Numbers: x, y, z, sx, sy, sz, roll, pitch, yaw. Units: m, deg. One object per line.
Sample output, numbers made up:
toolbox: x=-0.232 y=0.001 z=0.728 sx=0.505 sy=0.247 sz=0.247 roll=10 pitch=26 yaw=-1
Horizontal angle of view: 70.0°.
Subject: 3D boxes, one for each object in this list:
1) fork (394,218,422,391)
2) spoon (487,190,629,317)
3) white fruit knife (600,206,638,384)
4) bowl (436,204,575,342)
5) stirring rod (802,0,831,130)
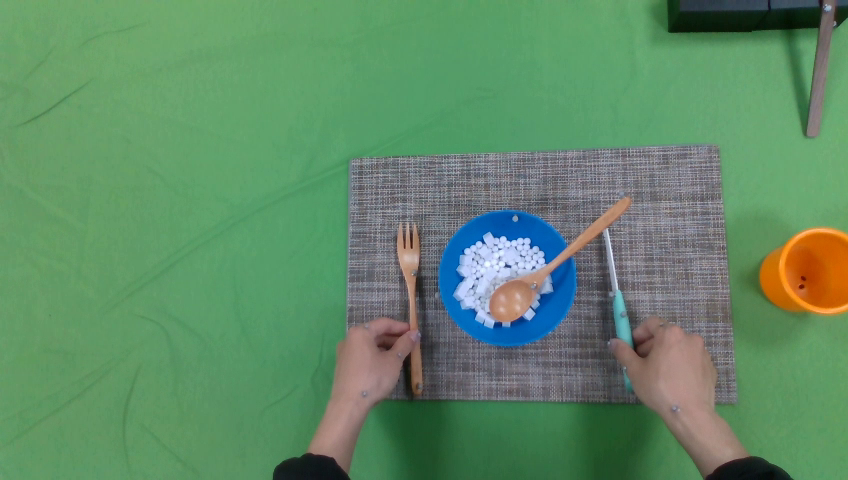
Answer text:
fork: x=-0.016 y=0.075 z=0.724 sx=0.028 sy=0.018 sz=0.206 roll=-2 pitch=77 yaw=-11
spoon: x=0.144 y=0.015 z=0.654 sx=0.194 sy=0.021 sz=0.041 roll=-43 pitch=84 yaw=18
white fruit knife: x=0.220 y=0.060 z=0.698 sx=0.016 sy=0.027 sz=0.206 roll=-7 pitch=77 yaw=1
bowl: x=0.091 y=0.041 z=0.690 sx=0.151 sy=0.077 sz=0.151 roll=-1 pitch=81 yaw=6
stirring rod: x=0.456 y=-0.217 z=0.701 sx=0.014 sy=0.006 sz=0.176 roll=1 pitch=101 yaw=3
